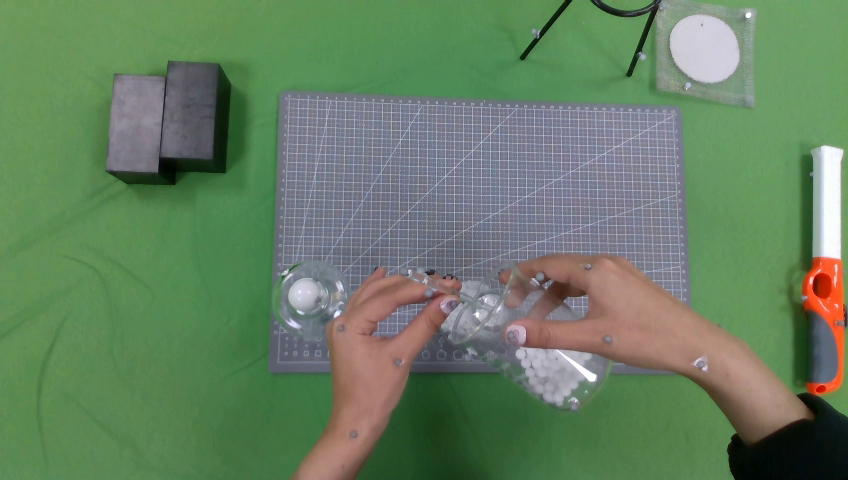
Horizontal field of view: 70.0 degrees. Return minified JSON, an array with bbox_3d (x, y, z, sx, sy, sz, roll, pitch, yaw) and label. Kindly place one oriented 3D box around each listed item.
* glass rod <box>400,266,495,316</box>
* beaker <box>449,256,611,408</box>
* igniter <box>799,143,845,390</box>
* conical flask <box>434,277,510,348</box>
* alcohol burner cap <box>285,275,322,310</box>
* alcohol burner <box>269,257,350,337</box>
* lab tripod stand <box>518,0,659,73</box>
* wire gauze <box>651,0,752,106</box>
[{"bbox_3d":[0.025,0.043,0.469,0.008,0.201,0.008,-6,74,21],"label":"glass rod"},{"bbox_3d":[0.079,0.070,0.449,0.100,0.084,0.074,36,83,-8],"label":"beaker"},{"bbox_3d":[0.442,0.027,0.673,0.057,0.025,0.275,8,82,-14],"label":"igniter"},{"bbox_3d":[0.052,0.068,0.583,0.075,0.122,0.075,1,81,-5],"label":"conical flask"},{"bbox_3d":[-0.108,0.047,0.539,0.034,0.048,0.034,1,85,-8],"label":"alcohol burner cap"},{"bbox_3d":[-0.111,0.053,0.575,0.078,0.119,0.077,0,81,-2],"label":"alcohol burner"},{"bbox_3d":[0.180,-0.244,0.634,0.148,0.131,0.148,0,84,-4],"label":"lab tripod stand"},{"bbox_3d":[0.325,-0.224,0.707,0.125,0.011,0.121,7,82,-6],"label":"wire gauze"}]
